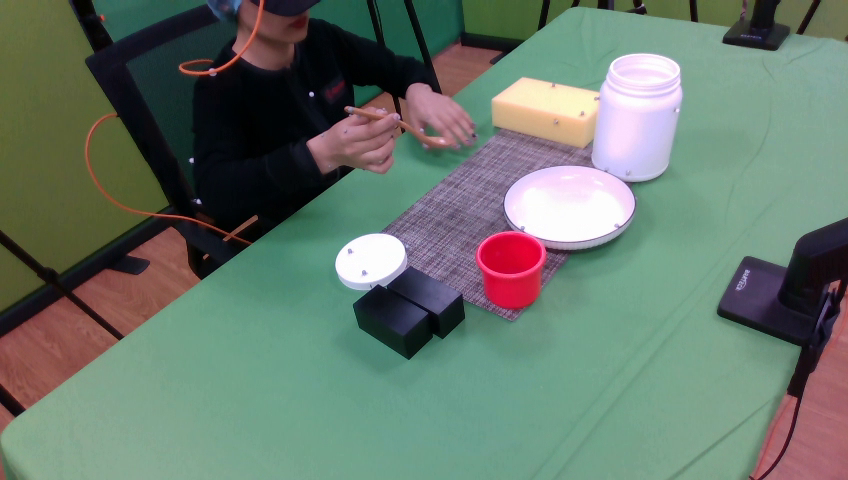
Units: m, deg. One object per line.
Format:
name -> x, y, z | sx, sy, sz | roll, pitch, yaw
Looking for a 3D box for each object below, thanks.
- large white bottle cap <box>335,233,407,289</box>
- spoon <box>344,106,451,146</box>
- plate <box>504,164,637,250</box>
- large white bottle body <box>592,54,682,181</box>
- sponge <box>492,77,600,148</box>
large white bottle cap -> -0.084, 0.032, 0.961 | 0.115, 0.018, 0.114 | -6, 41, 6
spoon -> -0.035, -0.166, 0.874 | 0.195, 0.021, 0.041 | 14, 17, -42
plate -> 0.234, -0.051, 0.981 | 0.209, 0.038, 0.208 | -5, 40, 5
large white bottle body -> 0.360, -0.208, 1.027 | 0.130, 0.185, 0.130 | -3, 41, 3
sponge -> 0.254, -0.258, 1.207 | 0.205, 0.061, 0.118 | 22, 47, 31
